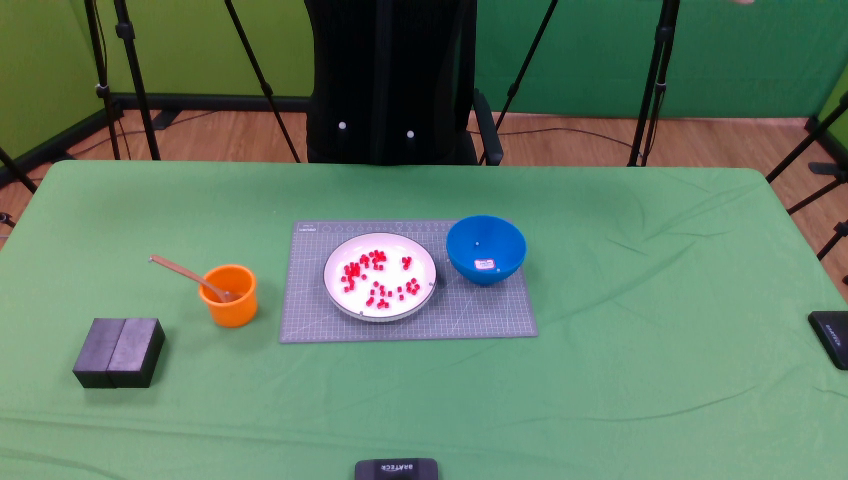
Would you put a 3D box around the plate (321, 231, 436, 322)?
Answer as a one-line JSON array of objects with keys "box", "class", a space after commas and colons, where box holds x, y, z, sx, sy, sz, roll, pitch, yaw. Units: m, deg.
[{"box": [-0.083, 0.070, 1.109, 0.209, 0.038, 0.208, 3, 46, -3], "class": "plate"}]

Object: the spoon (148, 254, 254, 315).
[{"box": [-0.368, 0.072, 1.011, 0.021, 0.195, 0.041, -31, 36, 29], "class": "spoon"}]

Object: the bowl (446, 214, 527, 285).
[{"box": [0.112, 0.031, 1.134, 0.151, 0.077, 0.150, 2, 46, -2], "class": "bowl"}]
